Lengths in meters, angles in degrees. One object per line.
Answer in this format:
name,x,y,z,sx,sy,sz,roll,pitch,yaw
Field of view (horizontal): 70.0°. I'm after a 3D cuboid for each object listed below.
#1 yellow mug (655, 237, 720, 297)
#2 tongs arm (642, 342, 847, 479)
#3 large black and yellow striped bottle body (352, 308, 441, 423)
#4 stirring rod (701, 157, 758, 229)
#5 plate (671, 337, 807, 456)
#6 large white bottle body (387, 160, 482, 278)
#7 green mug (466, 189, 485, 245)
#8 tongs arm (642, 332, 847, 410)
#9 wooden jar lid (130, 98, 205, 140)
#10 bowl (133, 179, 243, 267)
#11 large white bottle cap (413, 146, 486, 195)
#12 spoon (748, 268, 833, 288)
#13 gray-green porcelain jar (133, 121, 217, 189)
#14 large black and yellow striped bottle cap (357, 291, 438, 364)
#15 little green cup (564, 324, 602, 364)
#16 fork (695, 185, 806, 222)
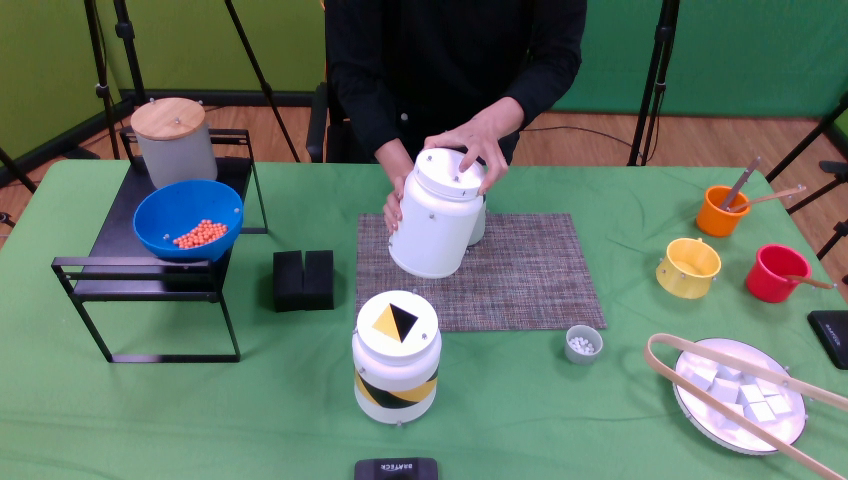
yellow mug,0.509,0.041,1.167,0.099,0.064,0.130,24,48,18
tongs arm,0.504,0.279,0.918,0.386,0.028,0.028,33,59,22
large black and yellow striped bottle body,-0.042,0.177,0.913,0.131,0.185,0.130,2,46,-2
stirring rod,0.634,-0.097,1.257,0.014,0.006,0.176,38,97,30
plate,0.504,0.254,0.984,0.208,0.039,0.206,2,46,-2
large white bottle body,0.019,-0.044,0.995,0.131,0.185,0.130,11,37,-9
green mug,0.071,-0.039,1.177,0.092,0.105,0.124,12,47,7
tongs arm,0.546,0.227,0.968,0.384,0.026,0.050,22,52,13
wooden jar lid,-0.393,-0.183,0.934,0.108,0.021,0.107,3,43,-2
bowl,-0.339,-0.013,0.895,0.151,0.077,0.150,2,46,-2
large white bottle cap,0.040,-0.110,0.944,0.115,0.018,0.114,10,38,-8
spoon,0.660,0.068,1.097,0.041,0.193,0.021,-4,91,-6
gray-green porcelain jar,-0.397,-0.141,0.980,0.106,0.127,0.105,2,47,-2
large black and yellow striped bottle cap,-0.037,0.121,0.851,0.115,0.019,0.114,1,46,-1
little green cup,0.269,0.180,1.036,0.061,0.039,0.061,1,45,-1
fork,0.658,-0.074,1.230,0.207,0.019,0.028,-23,36,37
